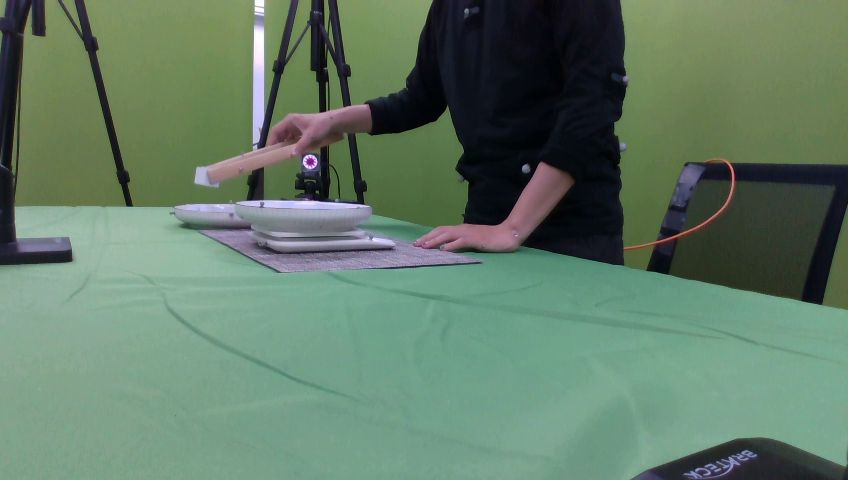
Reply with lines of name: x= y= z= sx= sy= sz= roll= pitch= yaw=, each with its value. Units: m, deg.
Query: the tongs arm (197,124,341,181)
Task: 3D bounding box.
tongs arm: x=-0.305 y=-0.188 z=1.264 sx=0.050 sy=0.026 sz=0.386 roll=2 pitch=22 yaw=31

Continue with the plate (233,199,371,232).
plate: x=-0.188 y=-0.039 z=0.939 sx=0.209 sy=0.038 sz=0.209 roll=2 pitch=7 yaw=0

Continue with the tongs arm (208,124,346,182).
tongs arm: x=-0.286 y=-0.187 z=1.251 sx=0.028 sy=0.028 sz=0.389 roll=0 pitch=21 yaw=36

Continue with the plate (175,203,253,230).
plate: x=-0.381 y=-0.047 z=1.199 sx=0.208 sy=0.039 sz=0.207 roll=3 pitch=7 yaw=0

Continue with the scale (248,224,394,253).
scale: x=-0.162 y=-0.006 z=0.954 sx=0.202 sy=0.031 sz=0.148 roll=-2 pitch=8 yaw=-32
